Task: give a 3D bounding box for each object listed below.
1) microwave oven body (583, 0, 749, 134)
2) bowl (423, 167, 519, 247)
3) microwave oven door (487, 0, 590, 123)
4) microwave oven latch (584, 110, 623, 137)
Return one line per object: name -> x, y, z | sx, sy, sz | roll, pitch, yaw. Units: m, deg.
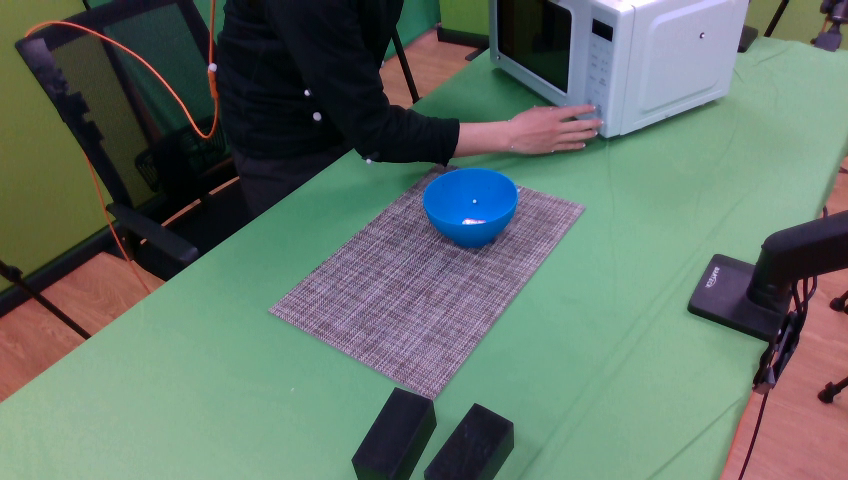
microwave oven body -> 0.382, -0.445, 1.246 | 0.327, 0.261, 0.437 | -22, 42, -16
bowl -> 0.075, -0.041, 0.959 | 0.151, 0.077, 0.150 | -4, 40, 4
microwave oven door -> 0.232, -0.420, 1.231 | 0.039, 0.245, 0.352 | -22, 43, -16
microwave oven latch -> 0.337, -0.222, 1.142 | 0.030, 0.029, 0.078 | -21, 42, -14
